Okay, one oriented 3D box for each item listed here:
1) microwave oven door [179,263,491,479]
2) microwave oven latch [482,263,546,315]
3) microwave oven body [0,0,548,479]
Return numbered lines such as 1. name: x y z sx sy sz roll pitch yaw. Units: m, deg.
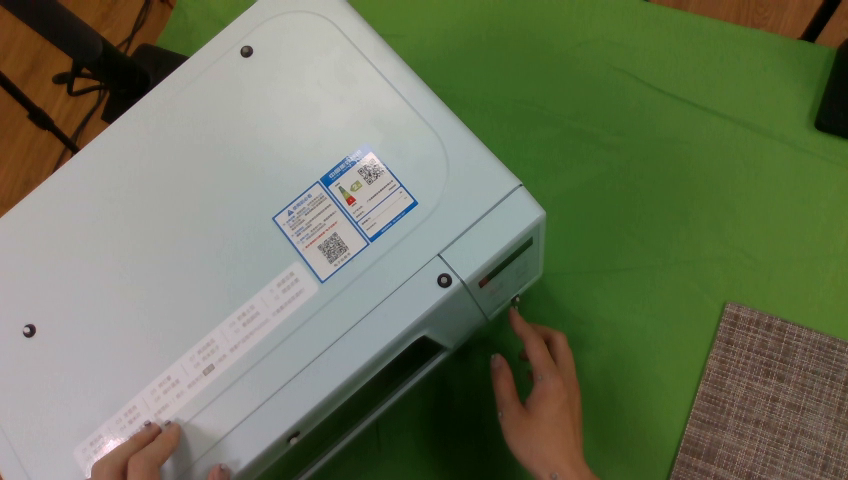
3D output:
1. microwave oven door: -0.095 0.161 0.535 0.356 0.245 0.039 -41 72 -1
2. microwave oven latch: 0.092 0.044 0.636 0.079 0.030 0.030 -39 74 0
3. microwave oven body: -0.153 0.029 0.582 0.441 0.262 0.324 -41 74 0
